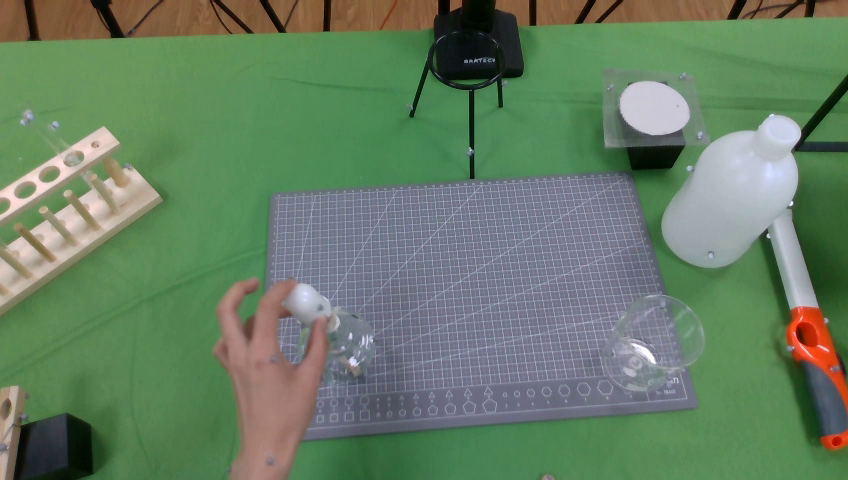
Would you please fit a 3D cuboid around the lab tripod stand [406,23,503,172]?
[{"bbox_3d":[0.046,-0.177,0.735,0.148,0.132,0.147,1,63,-2],"label":"lab tripod stand"}]

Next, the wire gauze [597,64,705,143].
[{"bbox_3d":[0.276,-0.169,0.748,0.121,0.011,0.124,3,62,1],"label":"wire gauze"}]

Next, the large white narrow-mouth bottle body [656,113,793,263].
[{"bbox_3d":[0.323,-0.059,0.640,0.102,0.196,0.101,0,61,0],"label":"large white narrow-mouth bottle body"}]

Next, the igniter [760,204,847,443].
[{"bbox_3d":[0.412,0.080,0.662,0.057,0.025,0.274,6,61,-9],"label":"igniter"}]

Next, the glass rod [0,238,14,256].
[{"bbox_3d":[-0.462,-0.040,0.608,0.008,0.201,0.008,2,53,-2],"label":"glass rod"}]

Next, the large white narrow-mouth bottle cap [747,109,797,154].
[{"bbox_3d":[0.323,-0.101,0.565,0.038,0.024,0.037,0,61,0],"label":"large white narrow-mouth bottle cap"}]

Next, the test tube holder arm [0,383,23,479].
[{"bbox_3d":[-0.372,0.215,0.533,0.013,0.015,0.177,-11,67,2],"label":"test tube holder arm"}]

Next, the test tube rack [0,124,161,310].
[{"bbox_3d":[-0.429,-0.017,0.671,0.242,0.086,0.066,-41,70,-20],"label":"test tube rack"}]

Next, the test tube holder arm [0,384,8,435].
[{"bbox_3d":[-0.385,0.176,0.551,0.010,0.015,0.087,-11,67,2],"label":"test tube holder arm"}]

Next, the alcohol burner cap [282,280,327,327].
[{"bbox_3d":[-0.104,0.053,0.520,0.034,0.048,0.033,-2,64,4],"label":"alcohol burner cap"}]

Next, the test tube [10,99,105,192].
[{"bbox_3d":[-0.392,-0.098,0.658,0.017,0.151,0.017,-2,61,4],"label":"test tube"}]

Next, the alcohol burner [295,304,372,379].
[{"bbox_3d":[-0.091,0.094,0.597,0.078,0.120,0.077,1,60,-2],"label":"alcohol burner"}]

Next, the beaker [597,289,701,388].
[{"bbox_3d":[0.216,0.102,0.604,0.084,0.101,0.073,1,61,1],"label":"beaker"}]
